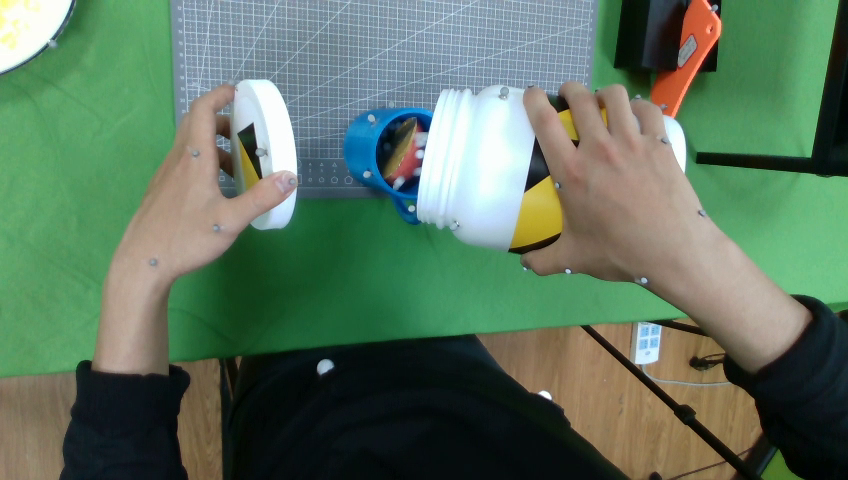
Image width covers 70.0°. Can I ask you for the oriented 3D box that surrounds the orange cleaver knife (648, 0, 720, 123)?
[{"bbox_3d":[0.288,-0.170,0.713,0.012,0.076,0.213,1,127,-13],"label":"orange cleaver knife"}]

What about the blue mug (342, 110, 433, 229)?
[{"bbox_3d":[-0.025,-0.067,0.593,0.082,0.105,0.117,-18,107,-18],"label":"blue mug"}]

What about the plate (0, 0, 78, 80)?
[{"bbox_3d":[-0.375,-0.222,0.457,0.210,0.038,0.210,-5,103,-21],"label":"plate"}]

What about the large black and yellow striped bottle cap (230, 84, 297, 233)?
[{"bbox_3d":[-0.127,-0.062,0.472,0.019,0.114,0.115,-8,104,-31],"label":"large black and yellow striped bottle cap"}]

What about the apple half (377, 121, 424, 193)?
[{"bbox_3d":[-0.017,-0.076,0.588,0.033,0.081,0.081,31,89,-16],"label":"apple half"}]

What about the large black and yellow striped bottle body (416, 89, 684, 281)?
[{"bbox_3d":[0.094,-0.046,0.484,0.184,0.130,0.131,12,97,4],"label":"large black and yellow striped bottle body"}]
